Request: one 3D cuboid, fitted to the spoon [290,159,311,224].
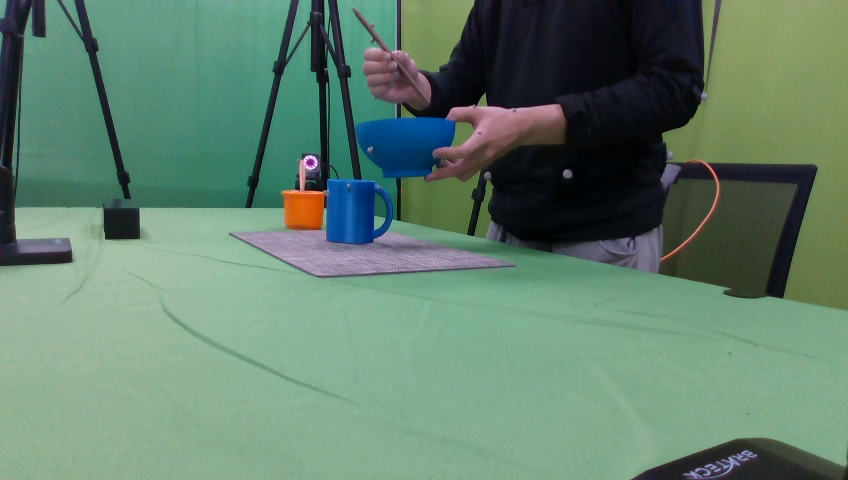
[{"bbox_3d":[-0.256,-0.104,1.265,0.042,0.193,0.021,1,-37,-9],"label":"spoon"}]

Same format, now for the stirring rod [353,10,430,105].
[{"bbox_3d":[-0.049,-0.271,0.898,0.006,0.176,0.014,-40,1,-16],"label":"stirring rod"}]

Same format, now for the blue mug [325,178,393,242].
[{"bbox_3d":[-0.111,-0.052,1.034,0.116,0.106,0.082,3,7,7],"label":"blue mug"}]

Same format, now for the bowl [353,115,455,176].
[{"bbox_3d":[-0.028,-0.135,0.894,0.151,0.077,0.151,-3,3,0],"label":"bowl"}]
